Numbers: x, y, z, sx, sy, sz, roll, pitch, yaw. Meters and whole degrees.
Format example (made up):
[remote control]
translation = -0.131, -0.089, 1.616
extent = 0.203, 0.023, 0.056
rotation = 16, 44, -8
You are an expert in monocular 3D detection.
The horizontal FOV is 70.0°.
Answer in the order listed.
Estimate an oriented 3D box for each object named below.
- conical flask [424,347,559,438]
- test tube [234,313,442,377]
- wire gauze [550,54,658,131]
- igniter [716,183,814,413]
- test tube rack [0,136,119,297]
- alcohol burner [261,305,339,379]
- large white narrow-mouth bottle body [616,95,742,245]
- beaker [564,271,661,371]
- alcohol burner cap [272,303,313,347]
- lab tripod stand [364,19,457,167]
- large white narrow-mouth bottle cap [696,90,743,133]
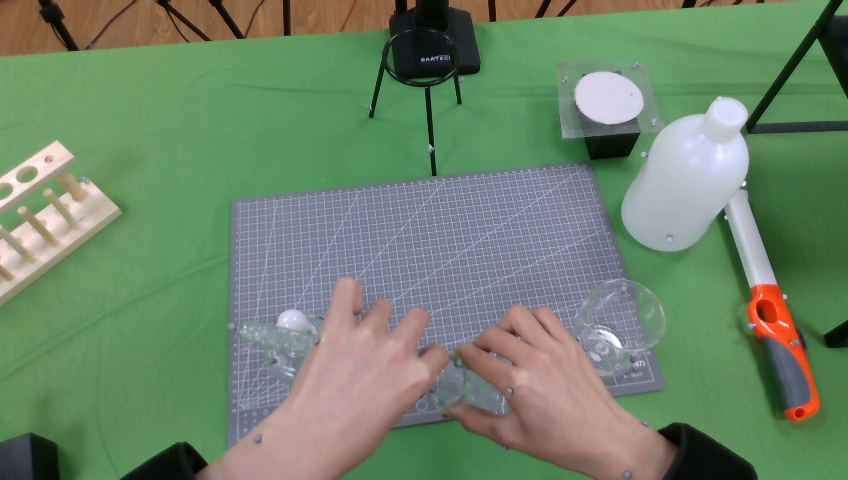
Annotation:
[conical flask]
translation = 0.050, 0.116, 0.486
extent = 0.075, 0.123, 0.075
rotation = -16, 62, 34
[test tube]
translation = -0.061, 0.075, 0.434
extent = 0.150, 0.017, 0.017
rotation = 14, 62, -4
[wire gauze]
translation = 0.222, -0.187, 0.759
extent = 0.121, 0.011, 0.124
rotation = 0, 61, -1
[igniter]
translation = 0.375, 0.054, 0.678
extent = 0.057, 0.025, 0.274
rotation = 3, 61, -11
[test tube rack]
translation = -0.470, 0.001, 0.656
extent = 0.066, 0.086, 0.242
rotation = 38, 68, 18
[alcohol burner]
translation = -0.124, 0.094, 0.595
extent = 0.078, 0.120, 0.077
rotation = 1, 60, -2
[large white narrow-mouth bottle body]
translation = 0.280, -0.080, 0.653
extent = 0.102, 0.196, 0.101
rotation = 0, 61, 0
[beaker]
translation = 0.182, 0.087, 0.613
extent = 0.084, 0.101, 0.073
rotation = -2, 61, -1
[alcohol burner cap]
translation = -0.124, 0.077, 0.562
extent = 0.034, 0.048, 0.033
rotation = -2, 61, 4
[lab tripod stand]
translation = -0.007, -0.183, 0.738
extent = 0.148, 0.132, 0.147
rotation = 1, 62, -2
[large white narrow-mouth bottle cap]
translation = 0.280, -0.123, 0.578
extent = 0.038, 0.024, 0.037
rotation = 0, 61, 0
